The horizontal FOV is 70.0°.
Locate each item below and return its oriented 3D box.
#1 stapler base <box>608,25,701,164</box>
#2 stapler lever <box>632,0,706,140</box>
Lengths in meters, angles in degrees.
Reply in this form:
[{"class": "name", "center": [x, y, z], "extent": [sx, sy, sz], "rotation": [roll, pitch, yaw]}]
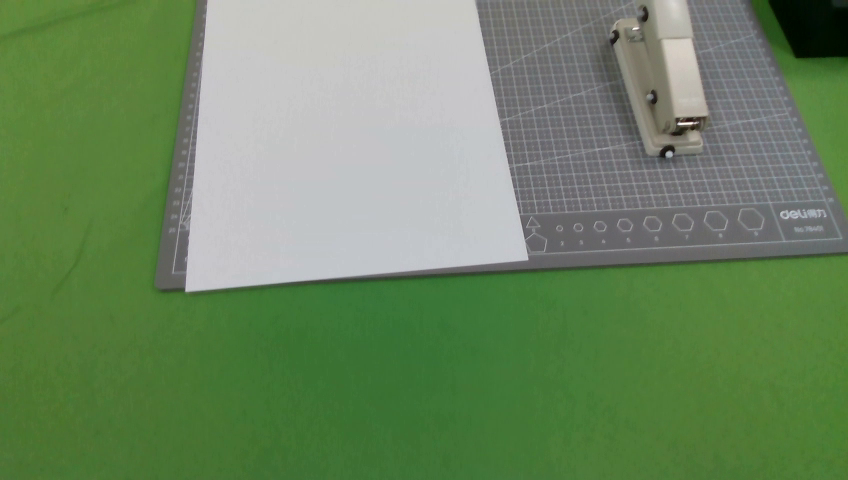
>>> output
[{"class": "stapler base", "center": [0.171, -0.116, 0.448], "extent": [0.041, 0.024, 0.129], "rotation": [-5, 64, -2]}, {"class": "stapler lever", "center": [0.172, -0.127, 0.425], "extent": [0.027, 0.040, 0.117], "rotation": [-5, 64, -2]}]
